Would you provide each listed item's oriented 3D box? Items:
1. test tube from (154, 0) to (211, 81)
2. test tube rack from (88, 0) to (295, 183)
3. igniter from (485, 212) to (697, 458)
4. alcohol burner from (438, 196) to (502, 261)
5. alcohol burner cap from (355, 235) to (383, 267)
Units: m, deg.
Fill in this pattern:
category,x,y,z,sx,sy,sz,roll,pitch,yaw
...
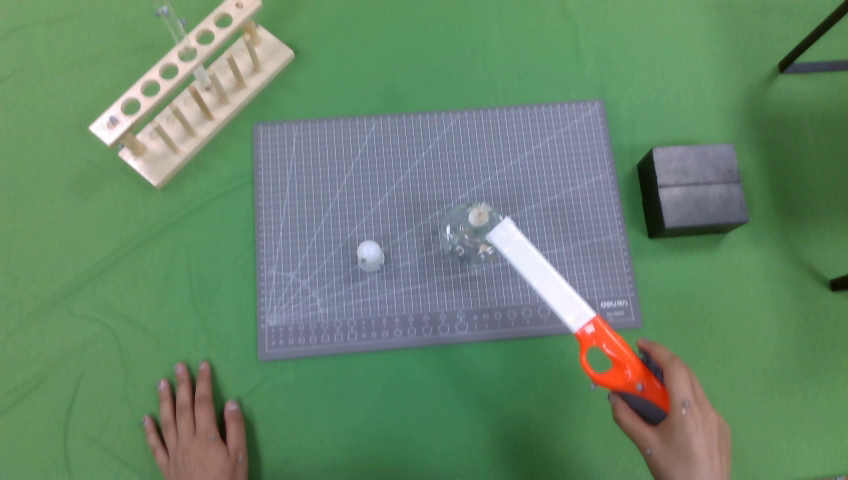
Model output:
category,x,y,z,sx,sy,sz,roll,pitch,yaw
test tube,-0.271,-0.227,0.686,0.017,0.151,0.017,0,71,-1
test tube rack,-0.269,-0.189,0.727,0.066,0.085,0.242,39,78,8
igniter,0.158,0.085,0.575,0.057,0.025,0.275,-43,78,16
alcohol burner,0.056,-0.018,0.681,0.078,0.119,0.077,1,74,-3
alcohol burner cap,-0.065,0.011,0.706,0.034,0.048,0.033,0,75,0
